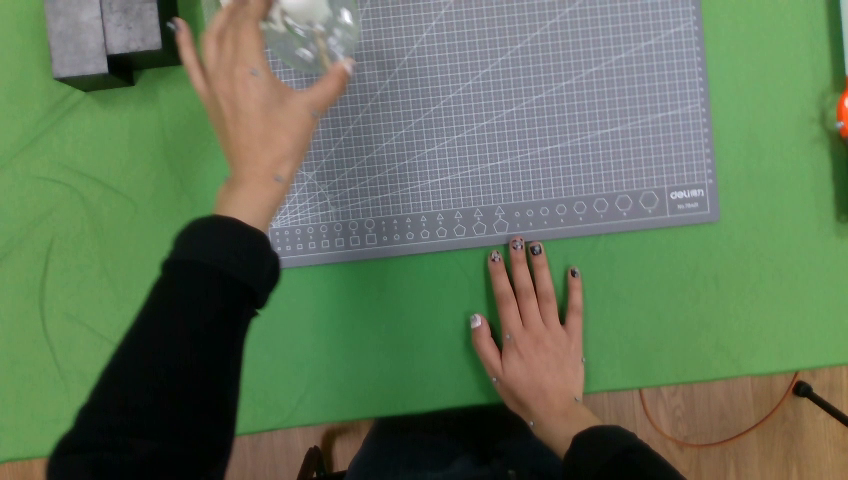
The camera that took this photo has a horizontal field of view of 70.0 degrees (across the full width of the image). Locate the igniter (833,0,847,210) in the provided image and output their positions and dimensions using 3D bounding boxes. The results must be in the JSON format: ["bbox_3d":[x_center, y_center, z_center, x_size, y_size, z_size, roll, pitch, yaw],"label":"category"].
[{"bbox_3d":[0.419,-0.158,0.584,0.057,0.025,0.276,-6,92,-11],"label":"igniter"}]

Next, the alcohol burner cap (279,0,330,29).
[{"bbox_3d":[-0.090,-0.177,0.442,0.034,0.048,0.034,0,94,5],"label":"alcohol burner cap"}]

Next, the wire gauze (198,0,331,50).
[{"bbox_3d":[-0.161,-0.251,0.578,0.125,0.011,0.121,-12,91,0],"label":"wire gauze"}]

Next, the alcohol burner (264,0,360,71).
[{"bbox_3d":[-0.091,-0.178,0.478,0.078,0.119,0.078,0,89,-2],"label":"alcohol burner"}]
